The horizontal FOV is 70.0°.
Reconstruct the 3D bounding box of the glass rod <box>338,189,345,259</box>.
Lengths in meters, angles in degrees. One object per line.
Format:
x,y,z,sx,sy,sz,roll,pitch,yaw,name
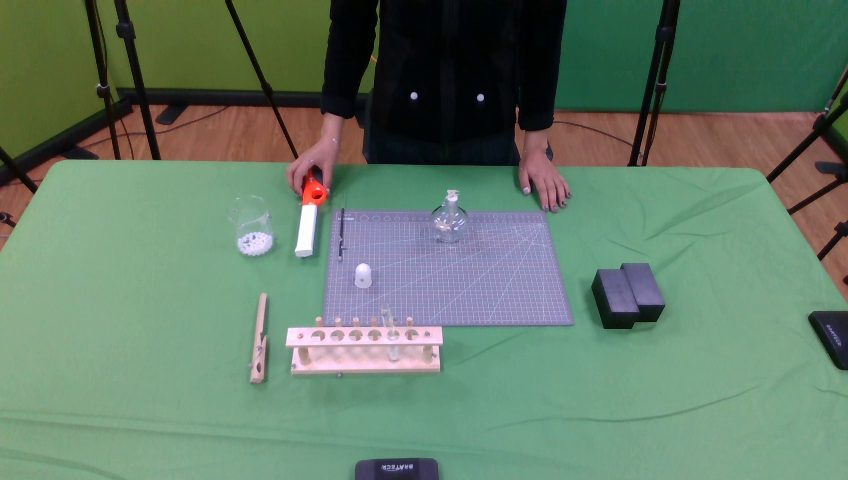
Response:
-0.166,-0.036,1.227,0.008,0.008,0.198,-1,46,-4,glass rod

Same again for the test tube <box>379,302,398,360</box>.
-0.054,0.145,0.943,0.017,0.151,0.017,-2,49,3,test tube

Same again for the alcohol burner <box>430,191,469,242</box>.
0.051,-0.053,1.185,0.078,0.119,0.077,2,48,-2,alcohol burner

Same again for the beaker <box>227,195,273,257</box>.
-0.326,-0.022,1.142,0.074,0.101,0.083,10,47,6,beaker

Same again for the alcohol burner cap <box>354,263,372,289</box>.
-0.113,0.063,1.111,0.034,0.048,0.033,2,46,-2,alcohol burner cap

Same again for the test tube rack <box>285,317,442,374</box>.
-0.095,0.166,0.988,0.242,0.085,0.066,0,46,-4,test tube rack

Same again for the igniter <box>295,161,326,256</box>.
-0.231,-0.073,1.239,0.057,0.025,0.274,-4,45,1,igniter

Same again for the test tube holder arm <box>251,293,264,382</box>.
-0.281,0.160,1.025,0.013,0.015,0.177,23,36,-32,test tube holder arm

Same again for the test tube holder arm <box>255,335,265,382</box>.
-0.270,0.193,0.997,0.010,0.015,0.087,23,36,-32,test tube holder arm
